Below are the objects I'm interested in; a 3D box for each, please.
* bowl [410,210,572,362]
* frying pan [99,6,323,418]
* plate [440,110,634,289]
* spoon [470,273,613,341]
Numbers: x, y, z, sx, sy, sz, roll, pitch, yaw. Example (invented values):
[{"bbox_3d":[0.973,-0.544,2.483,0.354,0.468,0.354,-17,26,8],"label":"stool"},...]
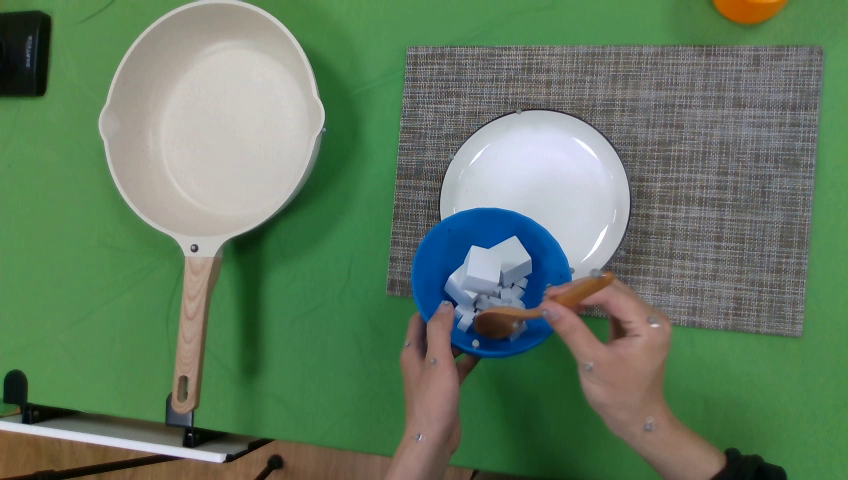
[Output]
[{"bbox_3d":[0.061,0.054,0.589,0.151,0.077,0.150,1,62,-1],"label":"bowl"},{"bbox_3d":[-0.264,-0.035,0.739,0.306,0.103,0.486,2,80,15],"label":"frying pan"},{"bbox_3d":[0.123,-0.037,0.672,0.207,0.039,0.207,-1,88,15],"label":"plate"},{"bbox_3d":[0.089,0.057,0.482,0.042,0.194,0.021,22,67,-14],"label":"spoon"}]
